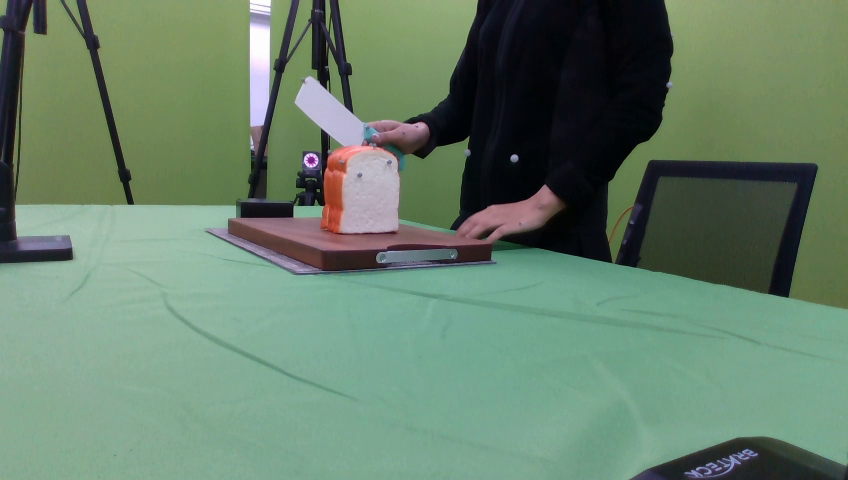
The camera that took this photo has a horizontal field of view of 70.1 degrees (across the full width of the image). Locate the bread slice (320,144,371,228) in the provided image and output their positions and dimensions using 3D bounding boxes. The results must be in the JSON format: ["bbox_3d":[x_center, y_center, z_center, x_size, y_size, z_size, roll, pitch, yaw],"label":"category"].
[{"bbox_3d":[-0.106,-0.083,0.952,0.107,0.134,0.018,2,6,-32],"label":"bread slice"}]

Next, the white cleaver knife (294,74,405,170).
[{"bbox_3d":[-0.122,-0.186,1.045,0.021,0.066,0.288,14,-12,38],"label":"white cleaver knife"}]

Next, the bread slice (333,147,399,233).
[{"bbox_3d":[-0.084,-0.074,0.908,0.105,0.131,0.019,-4,15,-31],"label":"bread slice"}]
